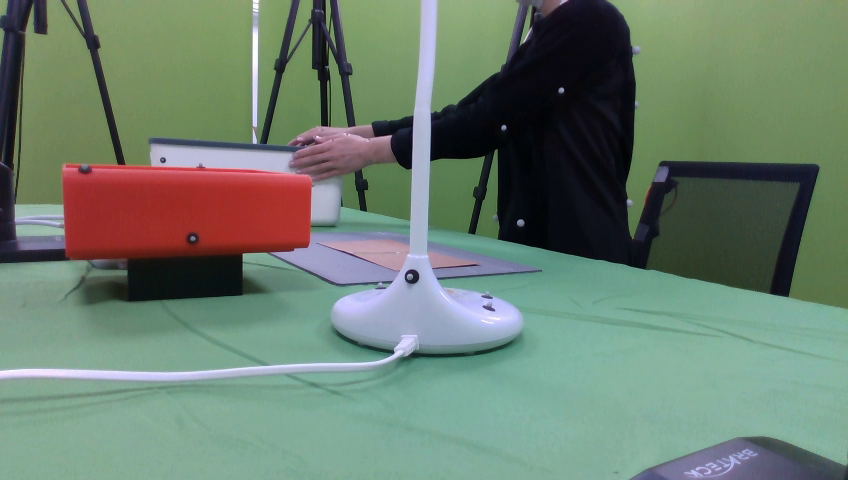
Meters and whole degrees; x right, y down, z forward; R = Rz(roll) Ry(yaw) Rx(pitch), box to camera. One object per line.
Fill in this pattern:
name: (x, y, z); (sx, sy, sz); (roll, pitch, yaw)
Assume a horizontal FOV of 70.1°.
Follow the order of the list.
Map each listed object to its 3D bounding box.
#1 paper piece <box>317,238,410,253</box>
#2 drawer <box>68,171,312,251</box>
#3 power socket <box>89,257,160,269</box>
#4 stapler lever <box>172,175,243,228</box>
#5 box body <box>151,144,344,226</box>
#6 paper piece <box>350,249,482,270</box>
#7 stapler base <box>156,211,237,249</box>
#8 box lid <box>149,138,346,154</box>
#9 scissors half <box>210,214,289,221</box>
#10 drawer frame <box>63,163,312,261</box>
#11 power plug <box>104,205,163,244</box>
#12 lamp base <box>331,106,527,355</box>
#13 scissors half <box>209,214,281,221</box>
paper piece: (-0.083, 0.008, 0.951); (0.136, 0.004, 0.134); (-2, 9, -30)
drawer: (-0.247, -0.036, 0.629); (0.213, 0.073, 0.193); (-2, 9, -30)
power socket: (-0.409, 0.004, 0.793); (0.072, 0.032, 0.225); (-2, 8, -38)
stapler lever: (-0.217, -0.041, 0.618); (0.027, 0.040, 0.118); (19, 11, -2)
box body: (-0.370, -0.119, 1.264); (0.366, 0.160, 0.253); (-1, 8, -24)
paper piece: (-0.013, 0.026, 0.841); (0.139, 0.008, 0.135); (0, 11, -32)
stapler base: (-0.227, -0.017, 0.624); (0.041, 0.024, 0.130); (19, 9, -2)
box lid: (-0.365, -0.191, 1.255); (0.373, 0.015, 0.262); (-1, 8, -24)
scissors half: (-0.357, -0.044, 1.235); (0.175, 0.013, 0.040); (1, -5, 9)
drawer frame: (-0.248, -0.036, 0.626); (0.215, 0.082, 0.200); (-3, 9, -31)
power plug: (-0.390, -0.021, 0.815); (0.073, 0.052, 0.035); (-1, 7, -28)
lamp base: (0.006, -0.012, 0.478); (0.161, 0.180, 0.179); (2, 10, 2)
scissors half: (-0.364, -0.044, 1.216); (0.174, 0.013, 0.040); (-1, 0, 26)
